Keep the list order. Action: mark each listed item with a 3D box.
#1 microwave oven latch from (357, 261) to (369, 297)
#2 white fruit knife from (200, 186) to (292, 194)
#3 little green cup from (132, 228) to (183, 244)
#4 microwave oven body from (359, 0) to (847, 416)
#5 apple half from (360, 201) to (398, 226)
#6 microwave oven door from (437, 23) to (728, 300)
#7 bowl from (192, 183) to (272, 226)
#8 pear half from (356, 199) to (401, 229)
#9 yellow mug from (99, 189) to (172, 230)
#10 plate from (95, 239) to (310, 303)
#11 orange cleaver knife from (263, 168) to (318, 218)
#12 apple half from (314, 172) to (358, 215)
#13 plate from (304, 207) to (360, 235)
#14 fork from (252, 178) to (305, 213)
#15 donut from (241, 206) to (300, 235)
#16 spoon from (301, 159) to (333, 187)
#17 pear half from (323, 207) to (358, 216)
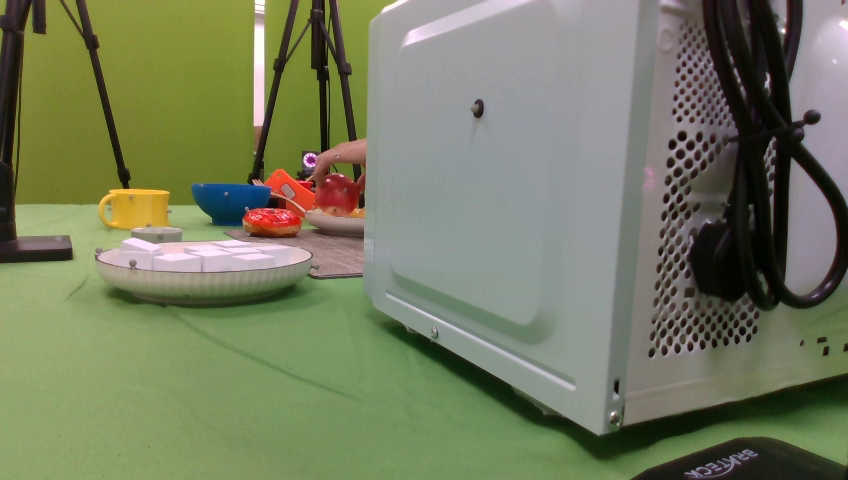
[{"bbox_3d":[-0.019,0.034,0.530,0.079,0.029,0.030,-1,7,-27],"label":"microwave oven latch"},{"bbox_3d":[-0.399,-0.111,1.368,0.208,0.016,0.027,-4,-19,-30],"label":"white fruit knife"},{"bbox_3d":[-0.342,0.006,0.779,0.061,0.038,0.061,2,8,0],"label":"little green cup"},{"bbox_3d":[0.211,-0.047,0.474,0.444,0.260,0.324,-1,7,-28],"label":"microwave oven body"},{"bbox_3d":[-0.087,-0.059,1.190,0.081,0.033,0.081,9,30,-5],"label":"apple half"},{"bbox_3d":[0.180,-0.072,0.621,0.358,0.243,0.039,-2,9,-29],"label":"microwave oven door"},{"bbox_3d":[-0.381,-0.071,1.202,0.151,0.077,0.151,3,7,0],"label":"bowl"},{"bbox_3d":[-0.075,-0.046,1.132,0.076,0.056,0.110,13,4,31],"label":"pear half"},{"bbox_3d":[-0.518,-0.055,1.080,0.099,0.064,0.131,6,9,26],"label":"yellow mug"},{"bbox_3d":[-0.224,0.031,0.629,0.208,0.039,0.207,2,8,0],"label":"plate"},{"bbox_3d":[-0.262,-0.088,1.353,0.211,0.077,0.012,28,13,-1],"label":"orange cleaver knife"},{"bbox_3d":[-0.156,-0.088,1.097,0.081,0.074,0.053,19,-34,-15],"label":"apple half"},{"bbox_3d":[-0.123,-0.037,1.149,0.209,0.038,0.209,2,7,0],"label":"plate"},{"bbox_3d":[-0.295,-0.084,1.292,0.206,0.018,0.028,29,11,25],"label":"fork"},{"bbox_3d":[-0.263,-0.032,1.039,0.099,0.048,0.099,4,10,0],"label":"donut"},{"bbox_3d":[-0.316,-0.158,1.639,0.194,0.022,0.041,-49,32,-20],"label":"spoon"},{"bbox_3d":[-0.155,-0.059,1.197,0.088,0.031,0.070,15,32,-4],"label":"pear half"}]
